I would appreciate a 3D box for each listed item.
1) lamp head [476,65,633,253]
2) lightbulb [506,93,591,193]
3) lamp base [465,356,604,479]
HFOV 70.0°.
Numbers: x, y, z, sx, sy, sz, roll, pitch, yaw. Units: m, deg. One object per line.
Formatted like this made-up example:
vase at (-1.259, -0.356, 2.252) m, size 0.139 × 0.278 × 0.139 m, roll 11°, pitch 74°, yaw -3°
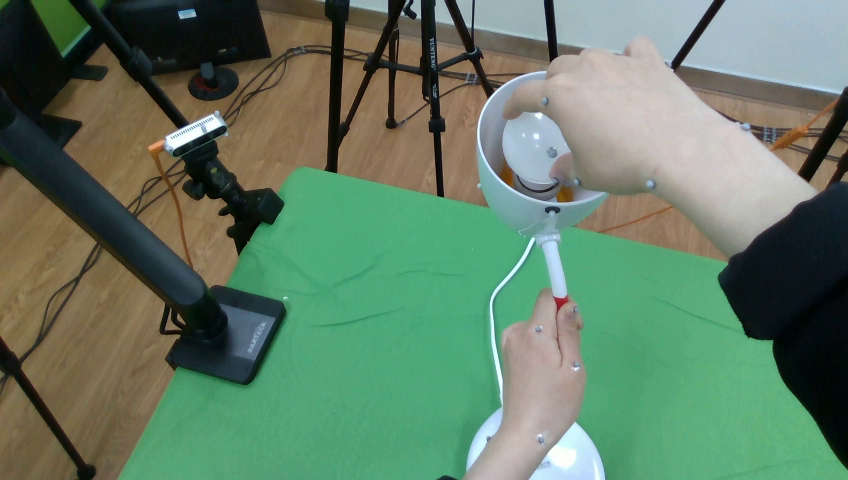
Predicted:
lamp head at (0.093, -0.053, 0.476) m, size 0.112 × 0.124 × 0.111 m, roll 0°, pitch 63°, yaw 1°
lightbulb at (0.095, -0.066, 0.453) m, size 0.059 × 0.108 × 0.059 m, roll -6°, pitch 68°, yaw 15°
lamp base at (0.122, 0.210, 0.648) m, size 0.161 × 0.182 × 0.177 m, roll -22°, pitch 57°, yaw -14°
